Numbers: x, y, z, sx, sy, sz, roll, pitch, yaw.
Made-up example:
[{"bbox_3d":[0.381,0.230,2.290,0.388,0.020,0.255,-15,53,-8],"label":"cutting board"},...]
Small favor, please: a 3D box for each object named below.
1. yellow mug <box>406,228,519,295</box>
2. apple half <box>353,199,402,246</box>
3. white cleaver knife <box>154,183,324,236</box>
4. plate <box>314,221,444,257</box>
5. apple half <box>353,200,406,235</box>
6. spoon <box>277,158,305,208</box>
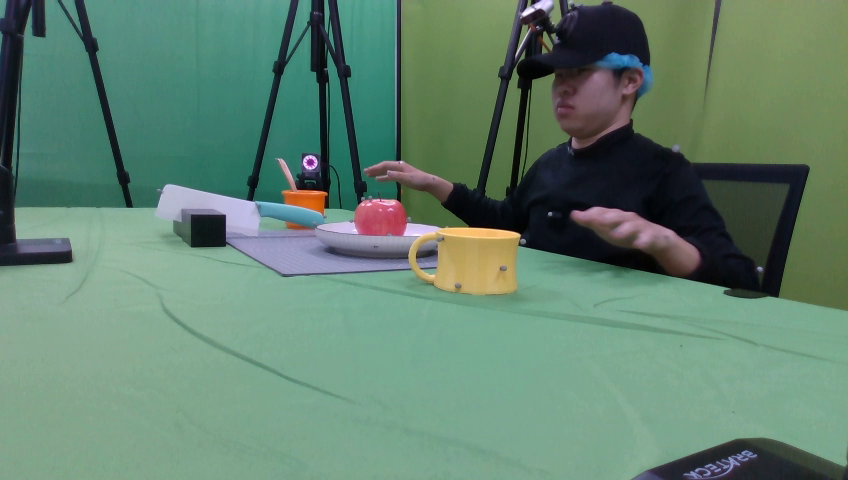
[{"bbox_3d":[0.044,0.022,0.707,0.131,0.064,0.100,2,7,4],"label":"yellow mug"},{"bbox_3d":[-0.076,-0.029,0.946,0.081,0.081,0.032,0,12,-18],"label":"apple half"},{"bbox_3d":[-0.310,-0.042,1.049,0.288,0.066,0.021,10,5,-28],"label":"white cleaver knife"},{"bbox_3d":[-0.067,-0.002,0.948,0.209,0.038,0.209,3,7,0],"label":"plate"},{"bbox_3d":[-0.064,-0.023,0.909,0.081,0.074,0.053,3,11,-17],"label":"apple half"},{"bbox_3d":[-0.272,-0.103,1.260,0.042,0.193,0.021,-5,-34,-33],"label":"spoon"}]
